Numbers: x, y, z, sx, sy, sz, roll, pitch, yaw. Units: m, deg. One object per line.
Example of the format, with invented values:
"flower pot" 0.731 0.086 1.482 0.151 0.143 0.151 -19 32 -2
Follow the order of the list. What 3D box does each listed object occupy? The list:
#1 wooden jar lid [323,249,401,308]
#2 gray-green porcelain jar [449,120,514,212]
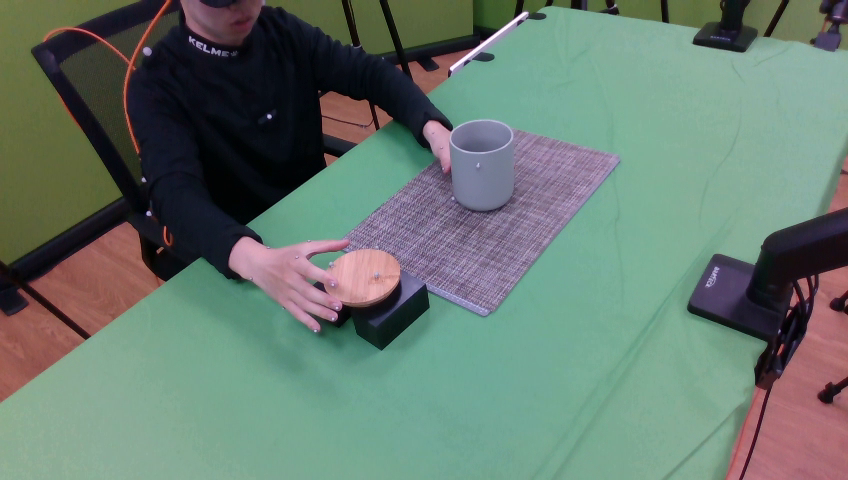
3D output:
"wooden jar lid" -0.086 0.055 0.841 0.108 0.021 0.108 -4 40 4
"gray-green porcelain jar" 0.097 -0.119 1.008 0.106 0.127 0.105 -4 40 4
